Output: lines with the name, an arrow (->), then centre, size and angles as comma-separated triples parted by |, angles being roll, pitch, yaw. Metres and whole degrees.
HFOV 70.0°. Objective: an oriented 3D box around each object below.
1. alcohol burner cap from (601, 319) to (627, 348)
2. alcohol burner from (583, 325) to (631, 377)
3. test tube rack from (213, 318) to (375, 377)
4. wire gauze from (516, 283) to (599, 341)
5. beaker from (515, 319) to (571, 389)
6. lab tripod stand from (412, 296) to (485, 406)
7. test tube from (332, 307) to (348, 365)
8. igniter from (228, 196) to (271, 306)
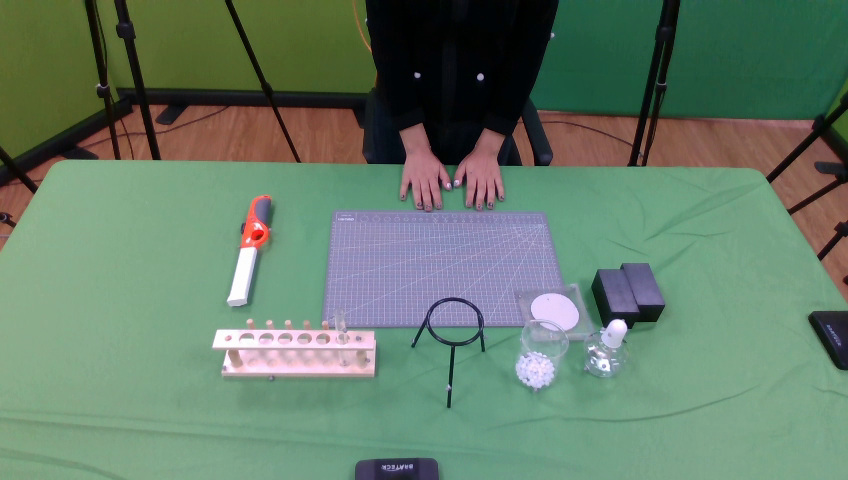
alcohol burner cap -> 0.305, 0.146, 0.966 | 0.034, 0.048, 0.033 | 6, 41, -5
alcohol burner -> 0.304, 0.171, 0.991 | 0.078, 0.120, 0.077 | 2, 48, -2
test tube rack -> -0.202, 0.169, 0.977 | 0.242, 0.085, 0.066 | 1, 46, -3
wire gauze -> 0.240, 0.131, 1.094 | 0.125, 0.011, 0.120 | -3, 47, -8
beaker -> 0.186, 0.186, 0.980 | 0.074, 0.101, 0.083 | -23, 51, -24
lab tripod stand -> 0.045, 0.168, 0.963 | 0.148, 0.132, 0.147 | 3, 47, -3
test tube -> -0.128, 0.151, 0.931 | 0.017, 0.151, 0.017 | 1, 50, -2
igniter -> -0.332, 0.011, 1.160 | 0.057, 0.025, 0.274 | -6, 46, 5
